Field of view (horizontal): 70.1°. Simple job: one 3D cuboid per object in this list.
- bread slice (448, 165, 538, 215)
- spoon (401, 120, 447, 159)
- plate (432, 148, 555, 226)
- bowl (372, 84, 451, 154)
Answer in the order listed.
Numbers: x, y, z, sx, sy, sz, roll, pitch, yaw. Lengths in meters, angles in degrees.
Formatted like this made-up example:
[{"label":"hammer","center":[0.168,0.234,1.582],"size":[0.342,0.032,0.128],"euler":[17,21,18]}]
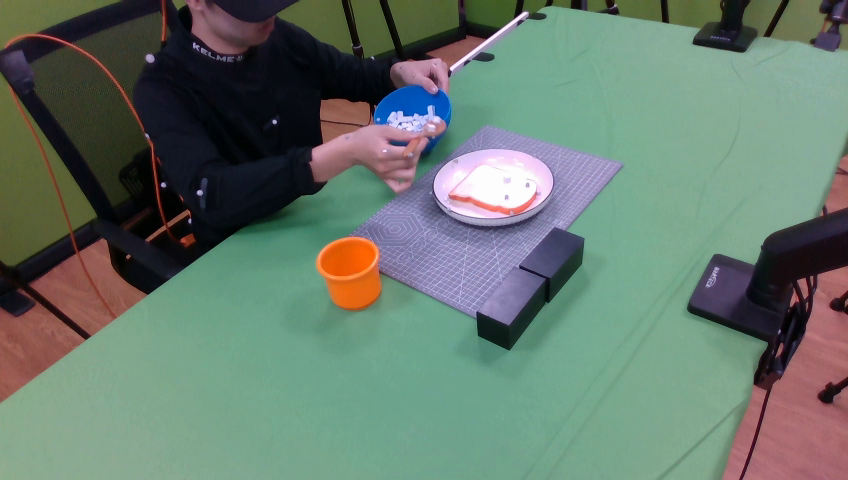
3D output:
[{"label":"bread slice","center":[0.126,-0.085,1.038],"size":[0.133,0.018,0.107],"euler":[16,45,27]},{"label":"spoon","center":[-0.004,-0.165,0.981],"size":[0.041,0.022,0.194],"euler":[8,24,16]},{"label":"plate","center":[0.119,-0.087,1.037],"size":[0.209,0.038,0.208],"euler":[-4,40,4]},{"label":"bowl","center":[-0.016,-0.219,1.159],"size":[0.151,0.077,0.150],"euler":[-6,52,9]}]
